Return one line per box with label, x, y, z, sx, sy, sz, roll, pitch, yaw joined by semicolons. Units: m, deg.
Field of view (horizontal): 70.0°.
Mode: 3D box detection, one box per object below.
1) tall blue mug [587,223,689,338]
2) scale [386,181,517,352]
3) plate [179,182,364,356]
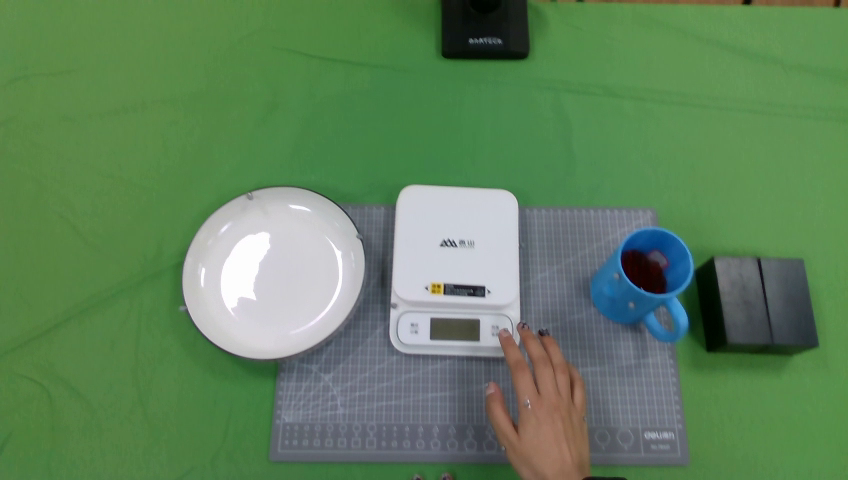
tall blue mug;0.243;0.046;0.664;0.107;0.108;0.077;36;72;12
scale;0.034;0.028;0.708;0.149;0.032;0.199;2;71;0
plate;-0.172;0.033;0.699;0.209;0.038;0.207;0;70;1
